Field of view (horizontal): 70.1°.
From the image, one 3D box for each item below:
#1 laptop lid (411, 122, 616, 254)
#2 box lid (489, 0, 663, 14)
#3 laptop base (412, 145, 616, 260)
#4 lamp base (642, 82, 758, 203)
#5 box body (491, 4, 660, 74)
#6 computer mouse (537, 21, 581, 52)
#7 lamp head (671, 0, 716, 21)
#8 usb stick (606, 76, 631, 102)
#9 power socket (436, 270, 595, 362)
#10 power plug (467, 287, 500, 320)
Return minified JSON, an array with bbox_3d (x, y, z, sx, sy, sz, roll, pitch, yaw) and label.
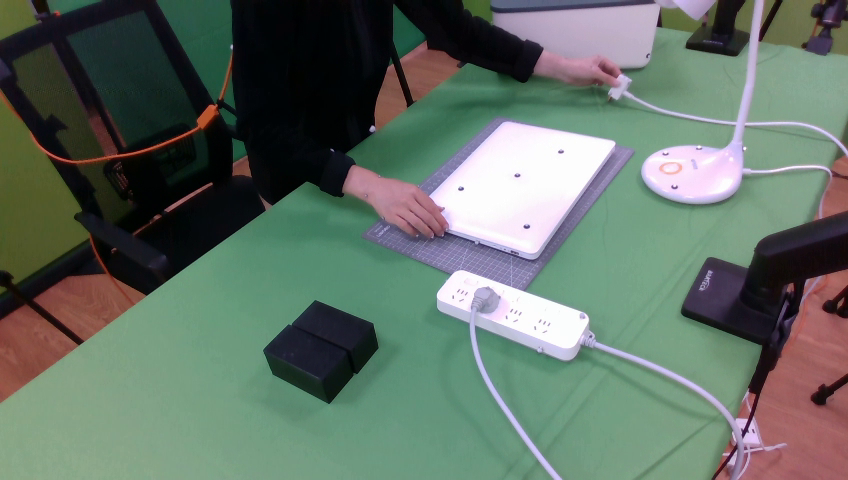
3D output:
[{"bbox_3d":[0.165,-0.110,1.066,0.240,0.013,0.357,19,46,30],"label":"laptop lid"},{"bbox_3d":[0.340,-0.575,1.380,0.371,0.015,0.262,0,41,9],"label":"box lid"},{"bbox_3d":[0.168,-0.101,1.072,0.234,0.023,0.355,17,45,30],"label":"laptop base"},{"bbox_3d":[0.464,-0.174,0.992,0.179,0.181,0.159,-5,41,-2],"label":"lamp base"},{"bbox_3d":[0.346,-0.520,1.429,0.363,0.161,0.253,0,41,9],"label":"box body"},{"bbox_3d":[0.335,-0.503,1.487,0.118,0.041,0.062,22,19,-28],"label":"computer mouse"},{"bbox_3d":[0.375,-0.373,0.807,0.122,0.113,0.112,-40,27,32],"label":"lamp head"},{"bbox_3d":[0.402,-0.309,1.259,0.027,0.059,0.021,43,36,19],"label":"usb stick"},{"bbox_3d":[0.118,0.101,0.832,0.225,0.033,0.072,19,48,27],"label":"power socket"},{"bbox_3d":[0.073,0.092,0.814,0.035,0.053,0.073,29,54,34],"label":"power plug"}]
